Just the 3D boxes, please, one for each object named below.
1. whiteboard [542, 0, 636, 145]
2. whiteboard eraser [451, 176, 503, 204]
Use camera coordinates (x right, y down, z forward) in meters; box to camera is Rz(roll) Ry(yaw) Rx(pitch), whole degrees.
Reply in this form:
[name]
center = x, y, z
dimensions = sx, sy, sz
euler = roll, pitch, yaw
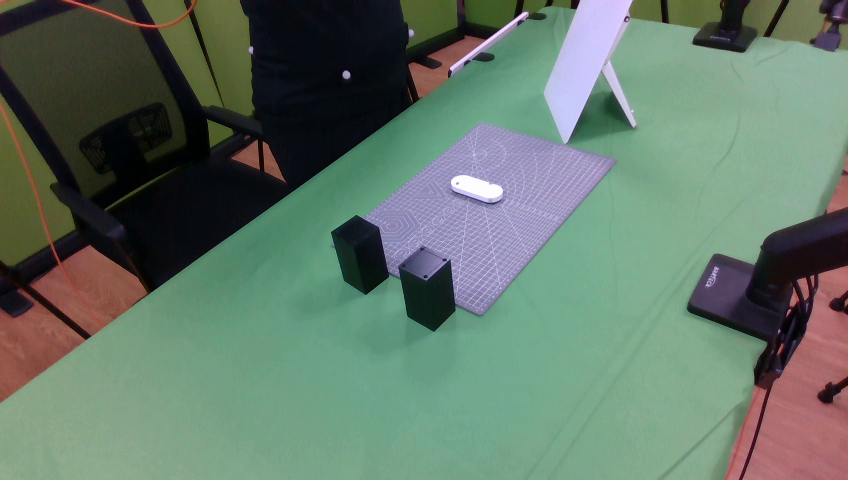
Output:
[whiteboard]
center = 0.365, -0.351, 1.160
dimensions = 0.144, 0.305, 0.216
euler = 9, 39, -10
[whiteboard eraser]
center = 0.093, -0.089, 1.059
dimensions = 0.100, 0.019, 0.041
euler = 21, 48, 31
